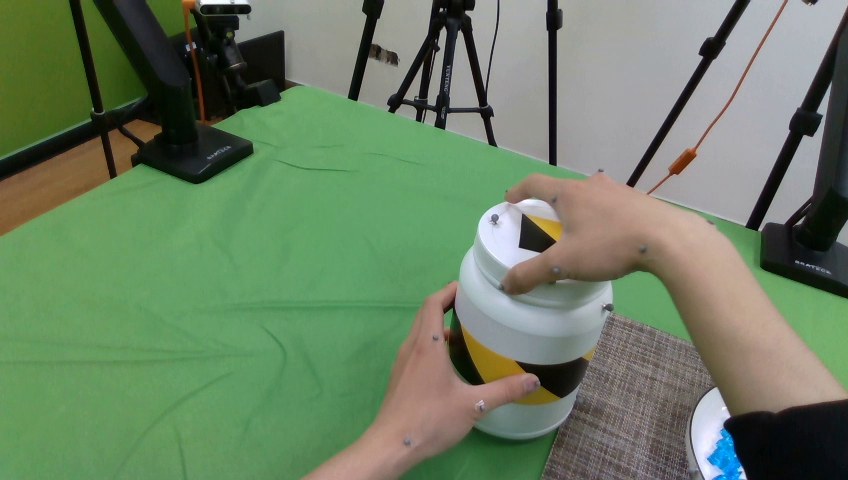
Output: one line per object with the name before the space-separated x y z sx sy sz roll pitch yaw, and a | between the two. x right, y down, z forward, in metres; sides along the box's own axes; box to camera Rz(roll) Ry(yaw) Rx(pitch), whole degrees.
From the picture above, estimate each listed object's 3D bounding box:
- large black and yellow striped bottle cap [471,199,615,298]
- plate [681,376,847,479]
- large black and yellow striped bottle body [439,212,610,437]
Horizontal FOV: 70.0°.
large black and yellow striped bottle cap | 0.096 0.003 0.491 0.115 0.019 0.114 7 36 -5
plate | 0.323 0.209 0.521 0.208 0.039 0.205 6 37 -4
large black and yellow striped bottle body | 0.088 0.071 0.541 0.131 0.185 0.129 5 37 -3
